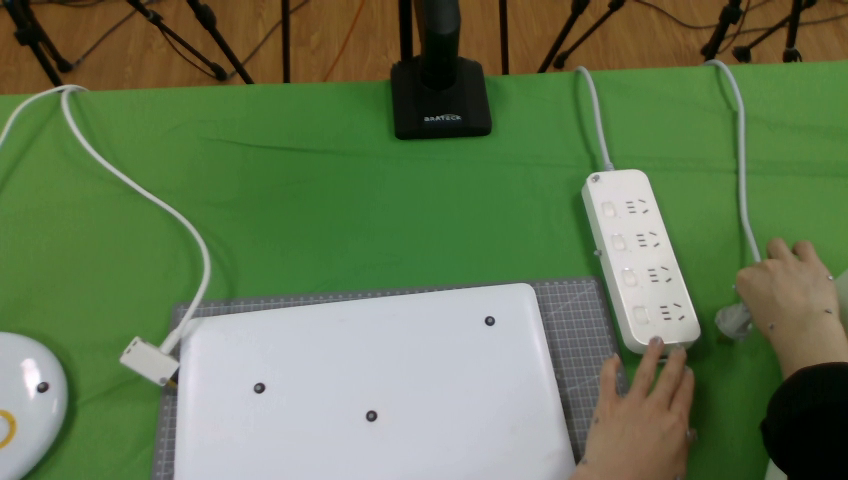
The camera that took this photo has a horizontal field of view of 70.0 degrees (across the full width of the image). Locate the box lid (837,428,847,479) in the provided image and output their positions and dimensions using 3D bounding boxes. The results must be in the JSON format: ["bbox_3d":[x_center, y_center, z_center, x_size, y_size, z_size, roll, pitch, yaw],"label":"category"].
[{"bbox_3d":[0.440,0.154,0.420,0.262,0.015,0.370,26,64,13],"label":"box lid"}]

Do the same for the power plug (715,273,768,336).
[{"bbox_3d":[0.327,0.072,0.617,0.073,0.053,0.035,-22,61,-28],"label":"power plug"}]

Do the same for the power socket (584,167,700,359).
[{"bbox_3d":[0.230,0.014,0.652,0.072,0.033,0.224,-3,61,-5],"label":"power socket"}]

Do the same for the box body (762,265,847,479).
[{"bbox_3d":[0.437,0.192,0.485,0.253,0.161,0.362,26,64,12],"label":"box body"}]

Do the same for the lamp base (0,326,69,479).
[{"bbox_3d":[-0.422,0.112,0.493,0.178,0.182,0.160,20,62,13],"label":"lamp base"}]

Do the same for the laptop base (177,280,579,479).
[{"bbox_3d":[-0.047,0.162,0.569,0.355,0.023,0.233,-6,65,-5],"label":"laptop base"}]

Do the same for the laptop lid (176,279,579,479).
[{"bbox_3d":[-0.046,0.159,0.557,0.357,0.013,0.239,-4,64,-4],"label":"laptop lid"}]

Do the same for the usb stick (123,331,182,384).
[{"bbox_3d":[-0.248,0.113,0.569,0.027,0.060,0.021,-52,29,-15],"label":"usb stick"}]
